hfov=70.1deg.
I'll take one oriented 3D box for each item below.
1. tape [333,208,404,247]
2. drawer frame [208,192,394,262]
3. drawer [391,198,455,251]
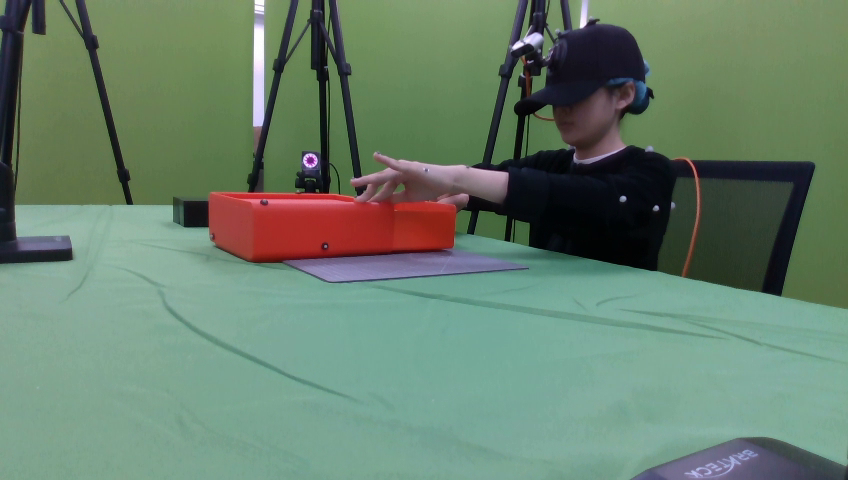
[{"bbox_3d":[-0.091,-0.022,0.976,0.117,0.052,0.117,3,7,0],"label":"tape"},{"bbox_3d":[-0.185,-0.026,0.899,0.215,0.082,0.200,-3,10,-35],"label":"drawer frame"},{"bbox_3d":[-0.090,-0.027,0.967,0.213,0.073,0.193,-2,10,-34],"label":"drawer"}]
